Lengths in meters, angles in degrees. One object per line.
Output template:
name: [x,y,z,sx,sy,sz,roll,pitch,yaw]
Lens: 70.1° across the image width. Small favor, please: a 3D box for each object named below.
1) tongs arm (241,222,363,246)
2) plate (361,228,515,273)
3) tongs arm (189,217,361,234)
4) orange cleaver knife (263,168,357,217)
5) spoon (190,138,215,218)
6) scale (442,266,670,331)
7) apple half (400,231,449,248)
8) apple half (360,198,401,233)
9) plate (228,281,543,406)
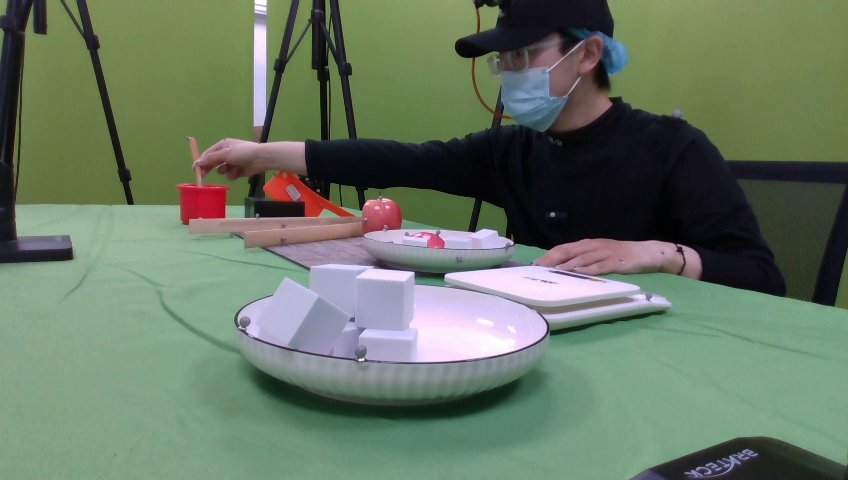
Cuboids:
tongs arm: [-0.159,-0.017,1.033,0.028,0.028,0.389,2,5,33]
plate: [0.018,0.013,0.818,0.209,0.038,0.209,2,7,0]
tongs arm: [-0.220,-0.027,1.088,0.387,0.026,0.050,-3,8,-43]
orange cleaver knife: [-0.240,-0.077,1.294,0.212,0.077,0.012,32,-8,-26]
spoon: [-0.448,-0.123,1.211,0.042,0.193,0.021,0,-23,-36]
scale: [0.131,0.052,0.603,0.202,0.031,0.148,-2,9,-37]
apple half: [0.003,0.005,0.843,0.081,0.033,0.081,1,4,0]
apple half: [-0.066,-0.032,1.014,0.053,0.074,0.081,9,6,20]
plate: [-0.025,0.067,0.413,0.208,0.039,0.207,3,7,0]
